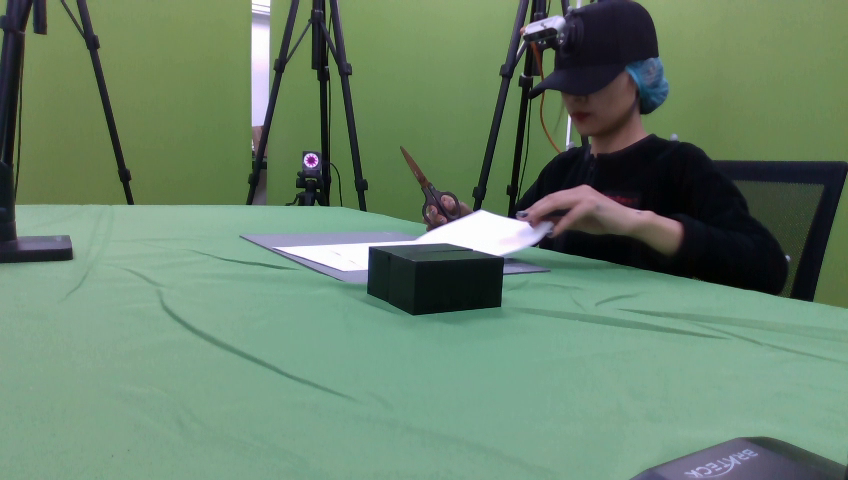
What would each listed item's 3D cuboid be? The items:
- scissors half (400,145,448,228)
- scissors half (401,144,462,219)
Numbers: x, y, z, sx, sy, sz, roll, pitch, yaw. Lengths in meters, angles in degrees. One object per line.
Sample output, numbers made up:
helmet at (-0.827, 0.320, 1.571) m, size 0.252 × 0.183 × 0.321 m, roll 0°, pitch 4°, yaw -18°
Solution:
scissors half at (-0.004, -0.101, 1.140) m, size 0.040 × 0.175 × 0.013 m, roll -25°, pitch 6°, yaw -2°
scissors half at (0.013, -0.112, 1.141) m, size 0.040 × 0.175 × 0.013 m, roll -42°, pitch 8°, yaw -5°
